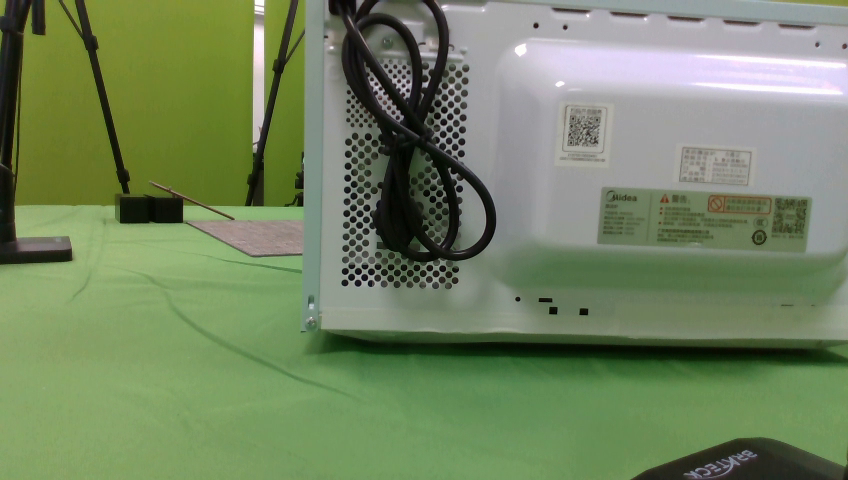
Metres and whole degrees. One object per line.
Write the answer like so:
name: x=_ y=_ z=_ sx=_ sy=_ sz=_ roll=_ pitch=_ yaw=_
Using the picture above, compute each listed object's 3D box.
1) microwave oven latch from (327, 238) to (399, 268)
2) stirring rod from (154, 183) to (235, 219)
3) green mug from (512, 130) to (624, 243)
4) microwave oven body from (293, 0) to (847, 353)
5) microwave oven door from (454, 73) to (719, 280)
microwave oven latch: x=-0.069 y=0.015 z=0.694 sx=0.079 sy=0.029 sz=0.030 roll=3 pitch=7 yaw=-3
stirring rod: x=-0.472 y=-0.079 z=1.252 sx=0.177 sy=0.006 sz=0.014 roll=27 pitch=3 yaw=-35
green mug: x=0.141 y=-0.055 z=0.610 sx=0.093 sy=0.105 sz=0.124 roll=-4 pitch=11 yaw=-44
microwave oven body: x=0.122 y=-0.055 z=0.550 sx=0.442 sy=0.260 sz=0.325 roll=3 pitch=7 yaw=-5
microwave oven door: x=0.195 y=-0.091 z=0.815 sx=0.354 sy=0.243 sz=0.039 roll=8 pitch=9 yaw=39
